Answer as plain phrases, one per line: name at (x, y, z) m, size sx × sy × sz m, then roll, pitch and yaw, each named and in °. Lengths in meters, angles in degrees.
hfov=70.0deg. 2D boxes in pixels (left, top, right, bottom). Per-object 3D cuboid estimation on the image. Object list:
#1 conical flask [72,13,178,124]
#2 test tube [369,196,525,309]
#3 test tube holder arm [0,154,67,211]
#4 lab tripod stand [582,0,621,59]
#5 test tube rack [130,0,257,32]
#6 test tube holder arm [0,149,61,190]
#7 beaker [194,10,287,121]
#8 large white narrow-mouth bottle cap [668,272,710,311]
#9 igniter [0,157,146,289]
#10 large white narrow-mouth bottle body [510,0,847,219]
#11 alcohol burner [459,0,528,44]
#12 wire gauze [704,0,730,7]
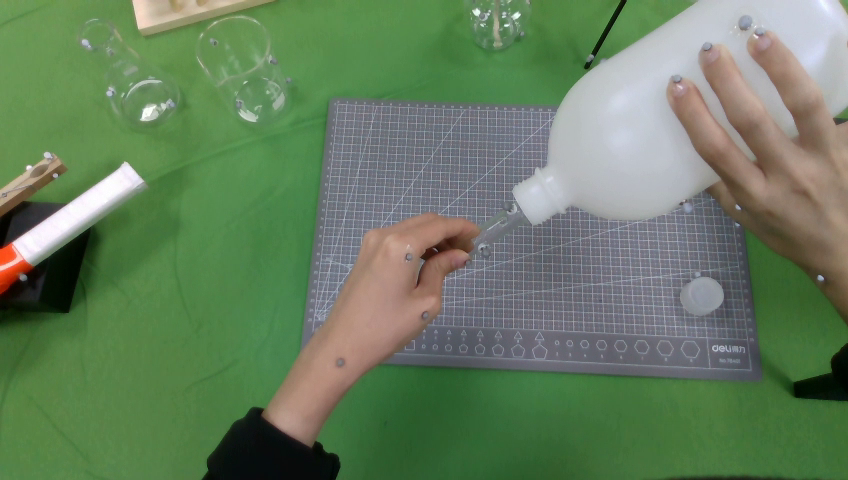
conical flask at (-0.318, -0.183, 0.636) m, size 0.075 × 0.122 × 0.075 m, roll 0°, pitch 70°, yaw 1°
test tube at (0.012, 0.013, 0.435) m, size 0.150 × 0.017 × 0.017 m, roll -35°, pitch 68°, yaw 31°
test tube holder arm at (-0.395, -0.053, 0.597) m, size 0.088 × 0.015 × 0.010 m, roll -40°, pitch 75°, yaw -13°
lab tripod stand at (0.248, -0.267, 0.656) m, size 0.148 × 0.132 × 0.147 m, roll 0°, pitch 70°, yaw -1°
test tube rack at (-0.235, -0.327, 0.705) m, size 0.242 × 0.086 × 0.066 m, roll -18°, pitch 72°, yaw -6°
test tube holder arm at (-0.433, -0.028, 0.588) m, size 0.178 × 0.015 × 0.013 m, roll -41°, pitch 75°, yaw -13°
beaker at (-0.192, -0.178, 0.646) m, size 0.074 × 0.101 × 0.083 m, roll 17°, pitch 72°, yaw 7°
large white narrow-mouth bottle cap at (0.265, 0.052, 0.604) m, size 0.038 × 0.024 × 0.037 m, roll 0°, pitch 72°, yaw 1°
igniter at (-0.389, 0.015, 0.570) m, size 0.276 × 0.025 × 0.057 m, roll -41°, pitch 77°, yaw -16°
large white narrow-mouth bottle body at (0.141, -0.074, 0.366) m, size 0.194 × 0.102 × 0.101 m, roll -32°, pitch 71°, yaw 14°
alcohol burner at (0.079, -0.275, 0.671) m, size 0.078 × 0.120 × 0.077 m, roll 0°, pitch 69°, yaw -1°
wire gauze at (0.255, -0.290, 0.593) m, size 0.121 × 0.011 × 0.124 m, roll 23°, pitch 74°, yaw 6°
